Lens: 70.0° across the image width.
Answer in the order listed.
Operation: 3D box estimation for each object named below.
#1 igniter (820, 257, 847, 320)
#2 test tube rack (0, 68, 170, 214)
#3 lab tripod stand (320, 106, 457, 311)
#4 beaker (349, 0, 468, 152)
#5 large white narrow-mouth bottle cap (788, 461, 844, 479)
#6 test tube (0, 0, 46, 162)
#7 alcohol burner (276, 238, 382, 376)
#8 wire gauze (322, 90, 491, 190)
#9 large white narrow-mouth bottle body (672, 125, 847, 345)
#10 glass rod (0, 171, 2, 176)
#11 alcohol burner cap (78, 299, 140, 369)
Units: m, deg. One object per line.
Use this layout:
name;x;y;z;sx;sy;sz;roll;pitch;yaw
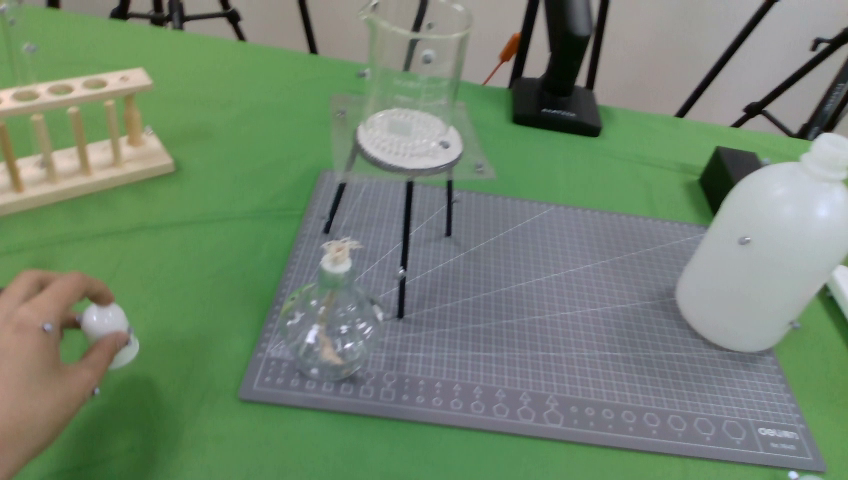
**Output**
igniter;0.416;0.112;0.538;0.057;0.025;0.274;17;40;-8
test tube rack;-0.371;-0.083;0.551;0.243;0.086;0.066;-22;50;-32
lab tripod stand;-0.024;-0.034;0.527;0.149;0.132;0.147;7;42;-6
beaker;-0.016;-0.124;0.455;0.084;0.101;0.073;4;43;-8
large white narrow-mouth bottle cap;0.283;0.181;0.436;0.038;0.024;0.037;6;41;-4
test tube;-0.360;-0.136;0.538;0.017;0.151;0.017;7;37;-5
alcohol burner;-0.068;0.044;0.443;0.078;0.120;0.077;7;40;-6
wire gauze;-0.019;-0.085;0.485;0.122;0.011;0.123;-3;46;-12
large white narrow-mouth bottle body;0.293;-0.006;0.513;0.102;0.196;0.101;5;41;-4
glass rod;-0.392;-0.141;0.510;0.008;0.201;0.008;2;36;-1
alcohol burner cap;-0.216;0.062;0.412;0.034;0.048;0.033;4;42;-3
